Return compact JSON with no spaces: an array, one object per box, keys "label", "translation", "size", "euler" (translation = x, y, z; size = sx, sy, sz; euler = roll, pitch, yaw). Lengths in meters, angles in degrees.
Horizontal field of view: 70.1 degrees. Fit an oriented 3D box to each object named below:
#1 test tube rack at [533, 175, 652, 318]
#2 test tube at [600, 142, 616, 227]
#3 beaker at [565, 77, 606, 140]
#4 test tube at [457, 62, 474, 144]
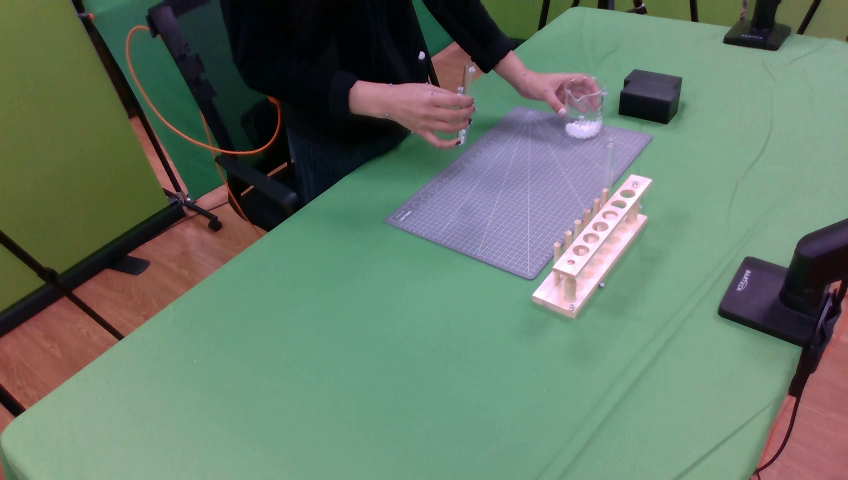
[{"label":"test tube rack","translation":[0.251,-0.001,0.888],"size":[0.066,0.085,0.243],"euler":[22,49,33]},{"label":"test tube","translation":[0.275,-0.081,0.908],"size":[0.017,0.151,0.017],"euler":[-5,40,5]},{"label":"beaker","translation":[0.305,-0.247,1.153],"size":[0.073,0.101,0.084],"euler":[15,47,27]},{"label":"test tube","translation":[0.068,-0.223,1.002],"size":[0.017,0.151,0.017],"euler":[3,42,-2]}]
